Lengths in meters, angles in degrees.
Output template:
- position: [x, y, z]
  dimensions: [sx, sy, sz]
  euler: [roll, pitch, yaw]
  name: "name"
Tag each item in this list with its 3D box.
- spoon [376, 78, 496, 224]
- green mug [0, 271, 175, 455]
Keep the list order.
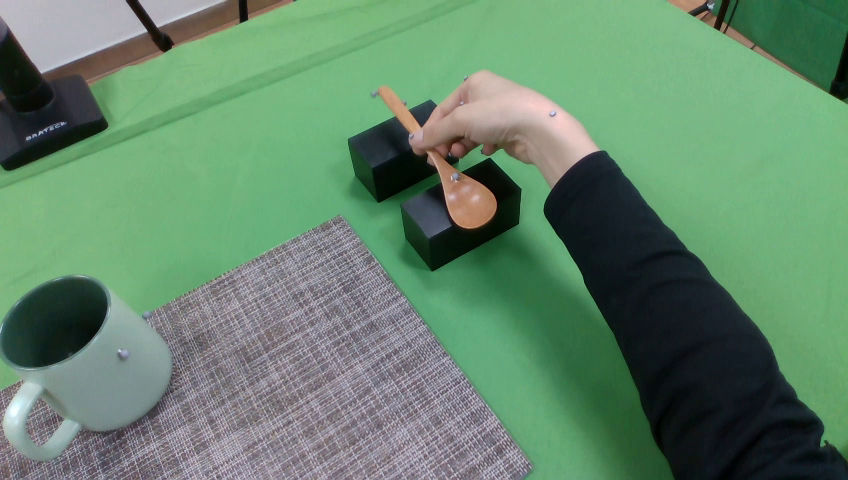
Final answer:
- position: [0.004, -0.088, 0.549]
  dimensions: [0.041, 0.022, 0.192]
  euler: [-34, 66, 3]
  name: "spoon"
- position: [-0.257, 0.097, 0.455]
  dimensions: [0.092, 0.106, 0.124]
  euler: [9, 55, 11]
  name: "green mug"
